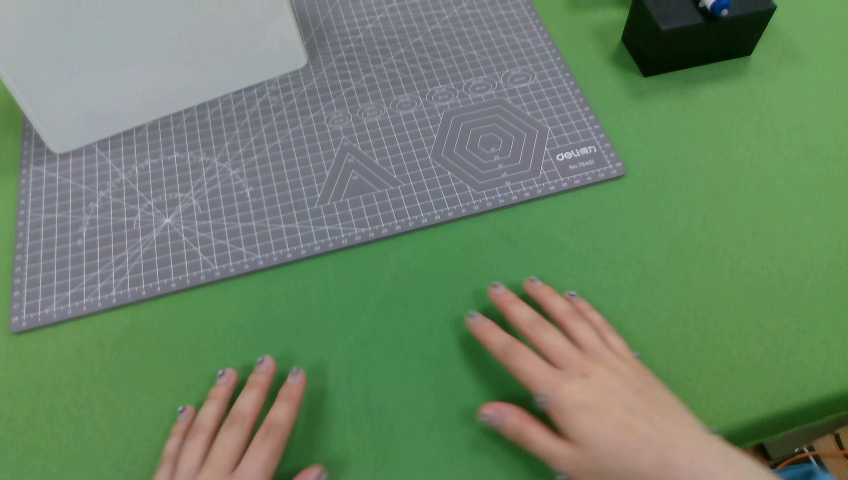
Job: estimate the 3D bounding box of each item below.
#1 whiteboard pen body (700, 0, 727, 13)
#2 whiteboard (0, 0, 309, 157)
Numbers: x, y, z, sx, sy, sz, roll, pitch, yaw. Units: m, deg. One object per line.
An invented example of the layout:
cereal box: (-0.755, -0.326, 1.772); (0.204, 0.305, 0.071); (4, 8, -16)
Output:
whiteboard pen body: (0.213, -0.239, 0.503); (0.017, 0.017, 0.139); (-13, 61, -6)
whiteboard: (-0.247, -0.257, 0.446); (0.217, 0.308, 0.142); (-23, 42, -11)
